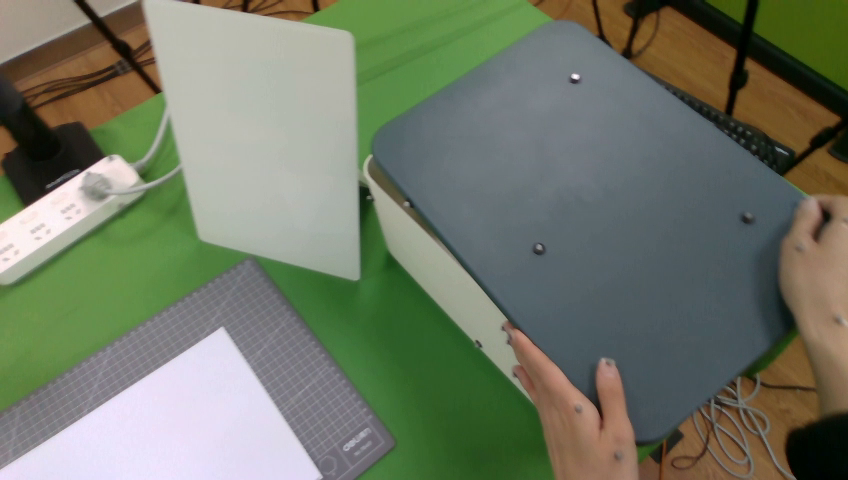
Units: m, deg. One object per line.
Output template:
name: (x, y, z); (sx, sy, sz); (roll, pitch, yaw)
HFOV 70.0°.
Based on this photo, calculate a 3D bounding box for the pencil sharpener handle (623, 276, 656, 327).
pencil sharpener handle: (0.229, 0.065, 0.626); (0.036, 0.068, 0.030); (-23, 58, 4)

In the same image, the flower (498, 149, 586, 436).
flower: (0.139, 0.044, 0.705); (0.044, 0.038, 0.358); (-24, 58, 25)

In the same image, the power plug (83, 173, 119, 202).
power plug: (-0.404, -0.054, 0.764); (0.035, 0.053, 0.072); (-31, 63, -16)

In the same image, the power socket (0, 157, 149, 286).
power socket: (-0.460, -0.027, 0.777); (0.226, 0.033, 0.071); (-40, 65, -21)

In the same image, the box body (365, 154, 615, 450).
box body: (0.143, 0.009, 0.655); (0.254, 0.162, 0.361); (-36, 63, -19)

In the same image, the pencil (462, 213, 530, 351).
pencil: (0.085, 0.046, 0.719); (0.012, 0.012, 0.192); (-18, 62, -9)

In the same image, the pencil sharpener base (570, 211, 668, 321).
pencil sharpener base: (0.210, 0.033, 0.663); (0.061, 0.108, 0.076); (-15, 58, -9)

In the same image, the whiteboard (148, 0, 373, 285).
whiteboard: (-0.151, -0.128, 0.704); (0.216, 0.308, 0.143); (14, 40, 12)

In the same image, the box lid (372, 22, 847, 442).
box lid: (0.147, -0.042, 0.534); (0.263, 0.015, 0.368); (-34, 63, -12)
